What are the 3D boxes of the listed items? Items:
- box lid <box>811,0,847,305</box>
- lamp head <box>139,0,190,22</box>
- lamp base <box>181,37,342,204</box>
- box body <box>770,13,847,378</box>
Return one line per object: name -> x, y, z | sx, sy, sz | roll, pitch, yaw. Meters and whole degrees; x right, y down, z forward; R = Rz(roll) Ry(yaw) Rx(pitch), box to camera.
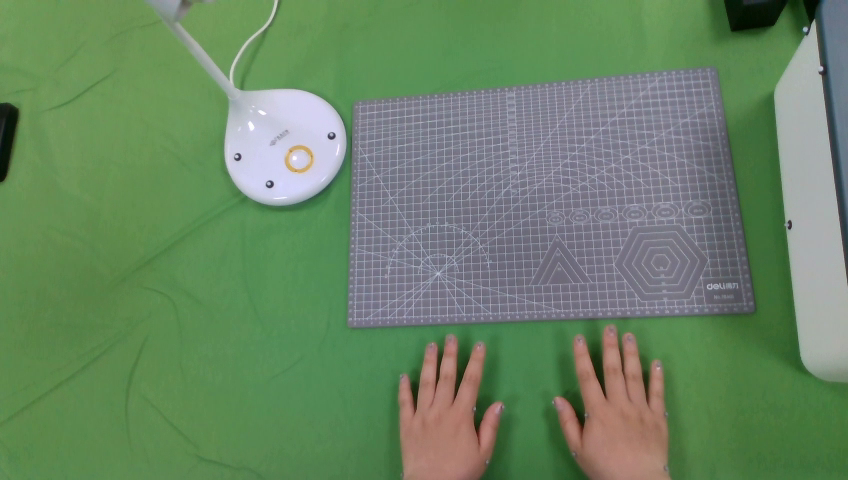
box lid -> 0.482, -0.070, 0.502 | 0.263, 0.015, 0.369 | 0, 75, 10
lamp head -> -0.205, -0.233, 0.423 | 0.123, 0.112, 0.112 | 28, 79, -18
lamp base -> -0.205, -0.150, 0.711 | 0.178, 0.181, 0.160 | 36, 82, 20
box body -> 0.494, -0.047, 0.572 | 0.254, 0.161, 0.362 | 0, 74, 10
